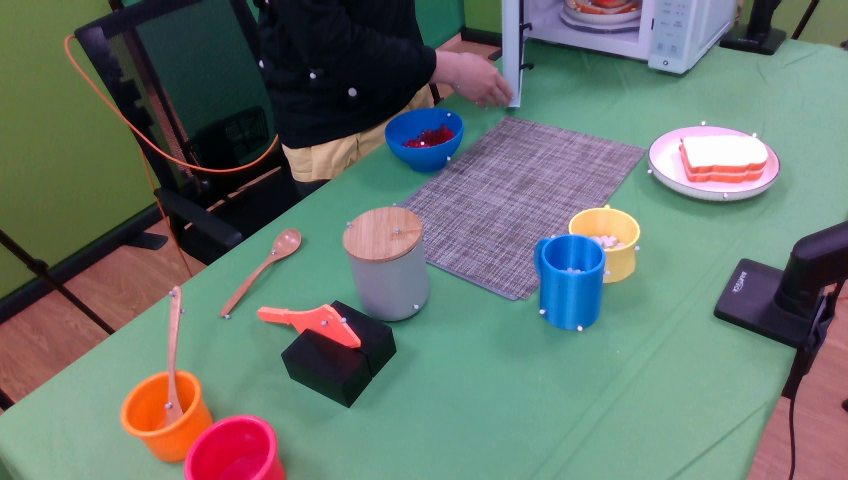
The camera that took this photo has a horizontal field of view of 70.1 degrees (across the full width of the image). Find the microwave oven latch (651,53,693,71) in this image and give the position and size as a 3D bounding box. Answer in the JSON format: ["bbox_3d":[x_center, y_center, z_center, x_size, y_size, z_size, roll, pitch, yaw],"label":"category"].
[{"bbox_3d":[0.532,-0.386,1.301,0.078,0.029,0.030,27,52,34],"label":"microwave oven latch"}]

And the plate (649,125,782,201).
[{"bbox_3d":[0.493,-0.128,1.036,0.207,0.039,0.206,-4,41,4],"label":"plate"}]

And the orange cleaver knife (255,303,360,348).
[{"bbox_3d":[-0.161,0.115,0.813,0.210,0.077,0.012,-4,32,46],"label":"orange cleaver knife"}]

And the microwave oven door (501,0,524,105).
[{"bbox_3d":[0.194,-0.487,1.311,0.039,0.245,0.354,1,42,10],"label":"microwave oven door"}]

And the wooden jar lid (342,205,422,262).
[{"bbox_3d":[-0.055,-0.006,0.808,0.108,0.021,0.108,-6,41,6],"label":"wooden jar lid"}]

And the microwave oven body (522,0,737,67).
[{"bbox_3d":[0.475,-0.602,1.411,0.438,0.261,0.327,23,50,32],"label":"microwave oven body"}]

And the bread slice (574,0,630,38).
[{"bbox_3d":[0.430,-0.557,1.481,0.105,0.019,0.131,-28,73,-27],"label":"bread slice"}]

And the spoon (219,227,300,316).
[{"bbox_3d":[-0.261,0.046,0.954,0.041,0.021,0.194,27,48,10],"label":"spoon"}]

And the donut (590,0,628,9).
[{"bbox_3d":[0.438,-0.585,1.433,0.099,0.048,0.098,-1,53,2],"label":"donut"}]

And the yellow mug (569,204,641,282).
[{"bbox_3d":[0.268,-0.005,0.904,0.099,0.064,0.130,7,41,15],"label":"yellow mug"}]

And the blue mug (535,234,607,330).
[{"bbox_3d":[0.190,0.048,0.824,0.082,0.106,0.115,-26,44,-21],"label":"blue mug"}]

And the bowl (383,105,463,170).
[{"bbox_3d":[0.002,-0.185,1.143,0.151,0.077,0.150,-4,40,4],"label":"bowl"}]

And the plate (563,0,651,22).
[{"bbox_3d":[0.441,-0.575,1.458,0.209,0.038,0.208,-6,42,6],"label":"plate"}]

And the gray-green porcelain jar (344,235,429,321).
[{"bbox_3d":[-0.049,0.042,0.849,0.106,0.127,0.105,-4,41,4],"label":"gray-green porcelain jar"}]

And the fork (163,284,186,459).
[{"bbox_3d":[-0.303,0.157,0.733,0.028,0.019,0.207,-3,84,13],"label":"fork"}]
